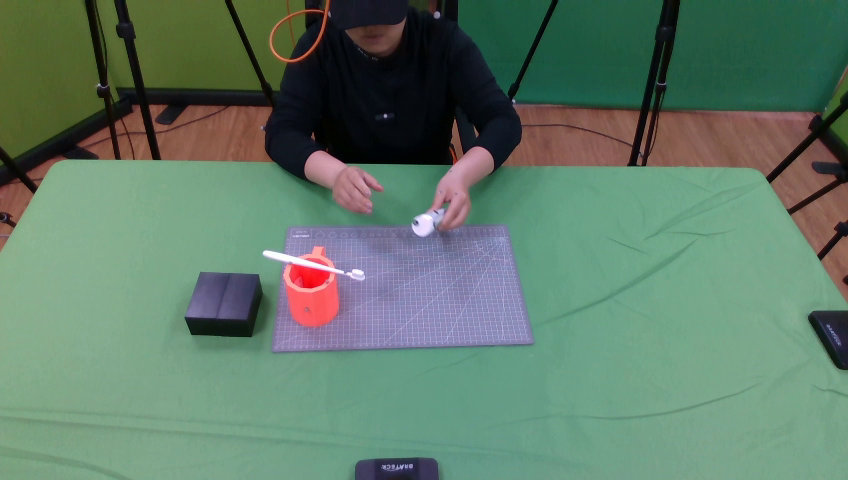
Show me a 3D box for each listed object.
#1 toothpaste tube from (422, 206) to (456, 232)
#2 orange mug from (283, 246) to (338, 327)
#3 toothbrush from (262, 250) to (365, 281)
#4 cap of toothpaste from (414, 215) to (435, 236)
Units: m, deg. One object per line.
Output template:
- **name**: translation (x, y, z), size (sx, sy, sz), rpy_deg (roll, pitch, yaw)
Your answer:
- **toothpaste tube**: translation (0.022, -0.040, 1.130), size (0.055, 0.034, 0.165), rpy_deg (-28, 2, 17)
- **orange mug**: translation (-0.193, 0.074, 1.056), size (0.083, 0.101, 0.125), rpy_deg (5, 50, 1)
- **toothbrush**: translation (-0.187, 0.040, 1.015), size (0.182, 0.017, 0.014), rpy_deg (13, 55, 8)
- **cap of toothpaste**: translation (0.000, -0.026, 1.056), size (0.037, 0.037, 0.011), rpy_deg (18, 16, 14)
